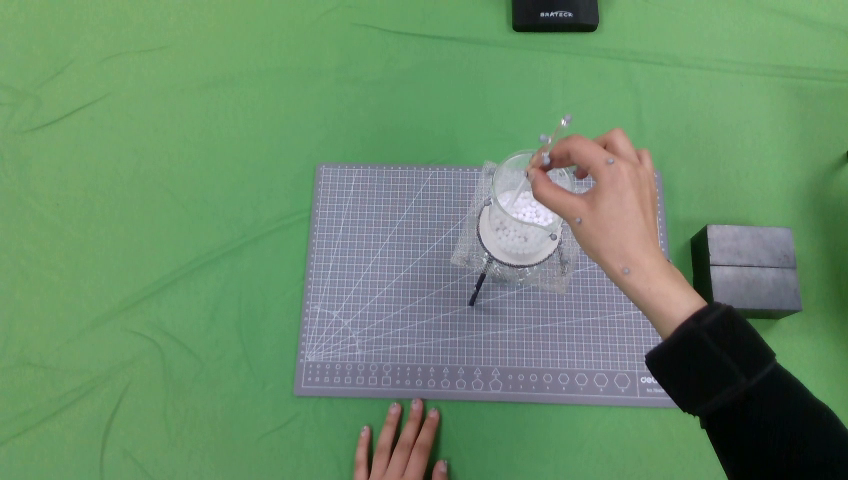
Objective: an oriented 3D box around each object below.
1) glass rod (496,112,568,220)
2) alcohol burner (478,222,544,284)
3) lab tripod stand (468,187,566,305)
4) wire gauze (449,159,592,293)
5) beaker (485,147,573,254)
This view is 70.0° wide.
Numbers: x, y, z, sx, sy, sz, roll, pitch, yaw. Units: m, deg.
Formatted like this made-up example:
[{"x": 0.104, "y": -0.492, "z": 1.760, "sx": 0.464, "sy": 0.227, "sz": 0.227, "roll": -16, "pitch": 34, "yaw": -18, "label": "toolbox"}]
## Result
[{"x": 0.088, "y": -0.056, "z": 0.526, "sx": 0.008, "sy": 0.200, "sz": 0.008, "roll": 3, "pitch": 70, "yaw": -7, "label": "glass rod"}, {"x": 0.102, "y": 0.010, "z": 0.698, "sx": 0.078, "sy": 0.120, "sz": 0.077, "roll": -1, "pitch": 73, "yaw": 3, "label": "alcohol burner"}, {"x": 0.098, "y": 0.003, "z": 0.691, "sx": 0.148, "sy": 0.132, "sz": 0.147, "roll": -1, "pitch": 71, "yaw": 3, "label": "lab tripod stand"}, {"x": 0.102, "y": -0.016, "z": 0.627, "sx": 0.121, "sy": 0.011, "sz": 0.124, "roll": 18, "pitch": 71, "yaw": 6, "label": "wire gauze"}, {"x": 0.098, "y": -0.030, "z": 0.581, "sx": 0.074, "sy": 0.101, "sz": 0.083, "roll": -26, "pitch": 73, "yaw": -7, "label": "beaker"}]
